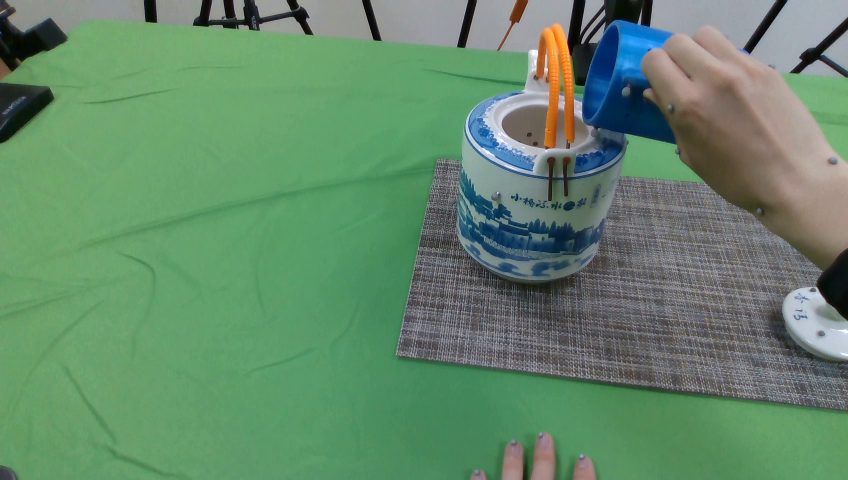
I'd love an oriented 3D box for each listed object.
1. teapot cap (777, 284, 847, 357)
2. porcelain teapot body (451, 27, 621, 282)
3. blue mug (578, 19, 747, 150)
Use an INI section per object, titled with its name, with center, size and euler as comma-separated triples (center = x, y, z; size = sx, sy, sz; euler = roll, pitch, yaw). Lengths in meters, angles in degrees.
[teapot cap]
center = 0.363, 0.067, 0.542
size = 0.085, 0.044, 0.084
euler = 3, 42, -2
[porcelain teapot body]
center = 0.102, -0.098, 0.575
size = 0.145, 0.227, 0.203
euler = 1, 43, -1
[blue mug]
center = 0.185, -0.119, 0.469
size = 0.106, 0.082, 0.116
euler = 12, 16, -3
